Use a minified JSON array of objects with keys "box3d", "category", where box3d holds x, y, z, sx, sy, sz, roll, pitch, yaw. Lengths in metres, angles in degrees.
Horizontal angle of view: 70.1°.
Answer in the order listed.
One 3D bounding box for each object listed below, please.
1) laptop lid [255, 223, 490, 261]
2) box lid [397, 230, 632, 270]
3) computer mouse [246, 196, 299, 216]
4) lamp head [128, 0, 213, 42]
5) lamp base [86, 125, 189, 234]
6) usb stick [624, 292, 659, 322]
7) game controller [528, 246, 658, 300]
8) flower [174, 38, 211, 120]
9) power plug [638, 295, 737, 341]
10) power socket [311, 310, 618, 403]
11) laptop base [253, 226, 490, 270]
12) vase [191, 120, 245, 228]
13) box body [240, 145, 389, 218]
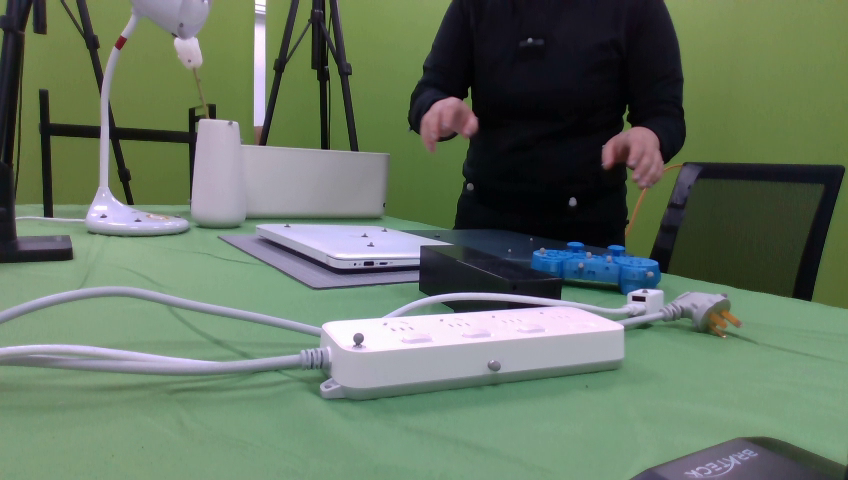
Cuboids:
[{"box3d":[-0.093,0.000,0.911,0.243,0.013,0.355,1,7,-30],"category":"laptop lid"},{"box3d":[0.140,0.013,1.044,0.265,0.015,0.369,-1,8,-32],"category":"box lid"},{"box3d":[-0.346,-0.077,1.380,0.118,0.041,0.062,-9,15,-28],"category":"computer mouse"},{"box3d":[-0.423,-0.394,0.980,0.123,0.112,0.112,20,7,-3],"category":"lamp head"},{"box3d":[-0.497,-0.105,1.027,0.179,0.180,0.160,1,7,2],"category":"lamp base"},{"box3d":[0.211,0.064,0.580,0.021,0.027,0.059,-2,-4,36],"category":"usb stick"},{"box3d":[0.202,0.036,0.733,0.155,0.051,0.097,5,10,19],"category":"game controller"},{"box3d":[-0.401,-0.207,1.141,0.038,0.361,0.044,-14,3,44],"category":"flower"},{"box3d":[0.235,0.077,0.535,0.072,0.035,0.052,-33,40,-5],"category":"power plug"},{"box3d":[0.034,0.074,0.415,0.228,0.032,0.072,-1,7,-24],"category":"power socket"},{"box3d":[-0.096,0.011,0.911,0.237,0.023,0.352,3,6,-32],"category":"laptop base"},{"box3d":[-0.389,-0.124,1.142,0.098,0.200,0.098,3,9,0],"category":"vase"},{"box3d":[-0.297,-0.143,1.474,0.366,0.160,0.253,-1,9,-30],"category":"box body"}]
